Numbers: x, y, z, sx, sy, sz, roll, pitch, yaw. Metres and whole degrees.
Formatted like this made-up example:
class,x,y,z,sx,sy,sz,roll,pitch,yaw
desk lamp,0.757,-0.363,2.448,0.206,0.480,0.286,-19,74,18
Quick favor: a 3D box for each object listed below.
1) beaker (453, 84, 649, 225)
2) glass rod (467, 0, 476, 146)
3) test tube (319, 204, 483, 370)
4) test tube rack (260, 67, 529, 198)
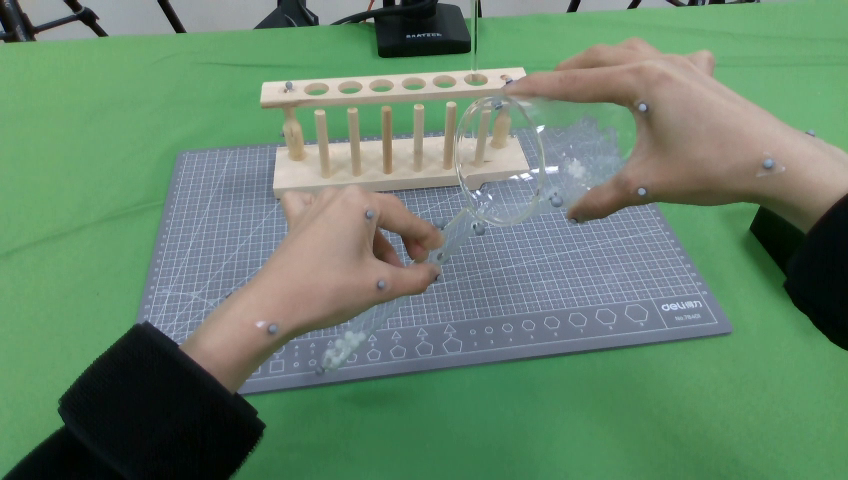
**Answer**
class,x,y,z,sx,sy,sz,roll,pitch,yaw
beaker,0.078,-0.053,0.366,0.100,0.084,0.073,-15,57,-32
glass rod,0.043,-0.175,0.551,0.008,0.201,0.008,-2,38,2
test tube,-0.018,0.033,0.393,0.150,0.017,0.017,-46,47,16
test tube rack,-0.024,-0.102,0.571,0.243,0.086,0.066,-5,45,-5
